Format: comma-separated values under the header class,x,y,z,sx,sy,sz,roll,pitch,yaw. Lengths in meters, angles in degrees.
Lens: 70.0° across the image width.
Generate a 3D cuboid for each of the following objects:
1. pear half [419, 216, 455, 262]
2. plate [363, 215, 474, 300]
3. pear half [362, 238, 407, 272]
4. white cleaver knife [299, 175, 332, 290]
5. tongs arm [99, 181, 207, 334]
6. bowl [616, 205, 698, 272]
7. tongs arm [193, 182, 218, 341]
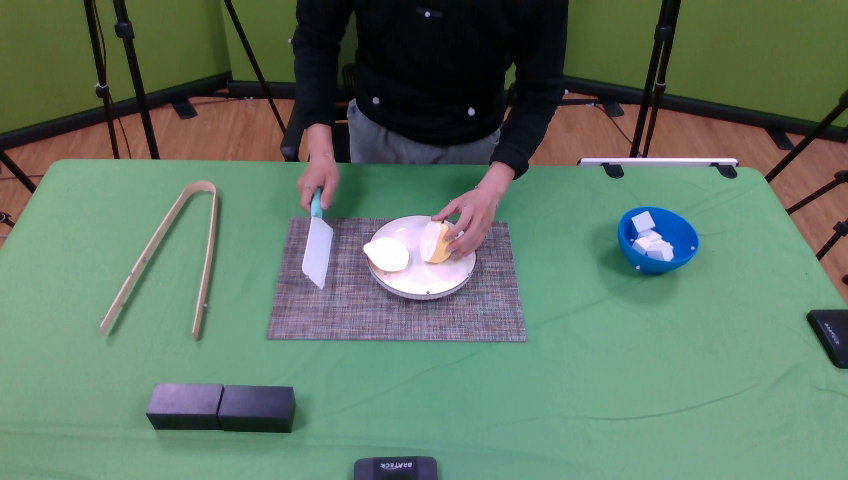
class,x,y,z,sx,sy,sz,roll,pitch,yaw
pear half,0.033,-0.007,1.128,0.056,0.110,0.076,-2,54,-24
plate,-0.010,0.036,1.146,0.208,0.039,0.206,3,46,-2
pear half,-0.077,0.032,1.137,0.088,0.031,0.070,16,47,-13
white cleaver knife,-0.201,-0.022,1.149,0.021,0.066,0.284,-25,40,22
tongs arm,-0.493,0.018,1.132,0.051,0.026,0.382,7,45,0
bowl,0.443,0.010,1.182,0.151,0.077,0.150,2,46,-2
tongs arm,-0.413,0.025,1.140,0.028,0.028,0.385,-5,47,-7
